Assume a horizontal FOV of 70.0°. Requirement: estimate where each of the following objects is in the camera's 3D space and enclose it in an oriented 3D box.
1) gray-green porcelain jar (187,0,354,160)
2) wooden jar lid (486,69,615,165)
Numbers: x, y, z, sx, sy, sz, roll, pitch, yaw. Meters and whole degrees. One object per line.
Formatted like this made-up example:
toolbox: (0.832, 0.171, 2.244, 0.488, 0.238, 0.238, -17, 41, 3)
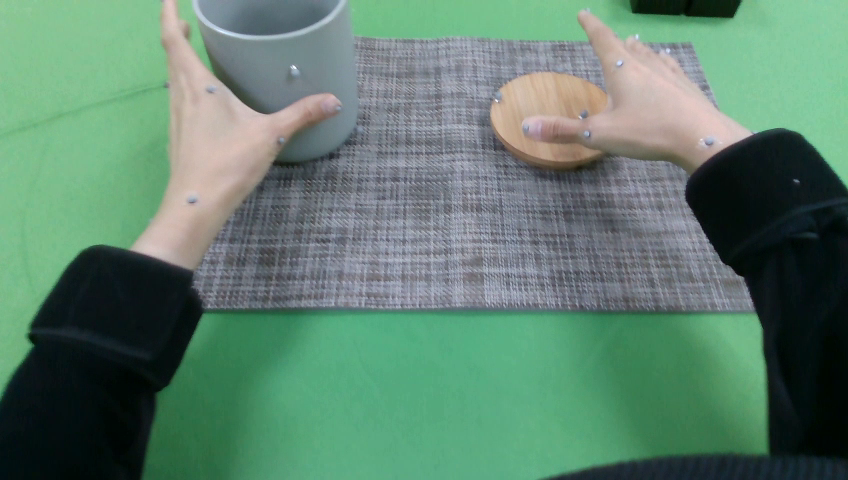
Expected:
gray-green porcelain jar: (-0.108, -0.133, 0.461, 0.106, 0.127, 0.105, 1, 55, -1)
wooden jar lid: (0.106, -0.103, 0.513, 0.108, 0.021, 0.107, 1, 54, 0)
